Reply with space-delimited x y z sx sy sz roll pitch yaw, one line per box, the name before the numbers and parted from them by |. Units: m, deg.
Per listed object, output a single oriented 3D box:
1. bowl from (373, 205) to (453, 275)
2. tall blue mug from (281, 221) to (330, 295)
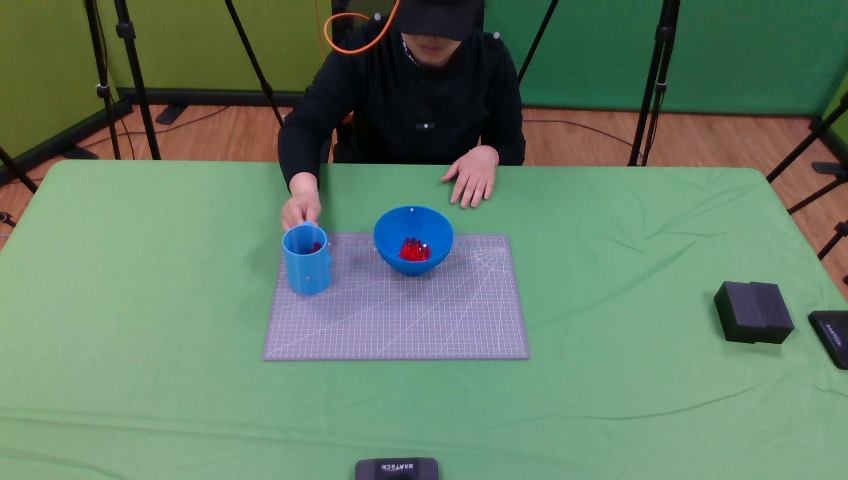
bowl | -0.022 0.013 1.143 0.151 0.077 0.150 2 46 -2
tall blue mug | -0.219 0.026 1.092 0.078 0.108 0.106 -23 53 -24
